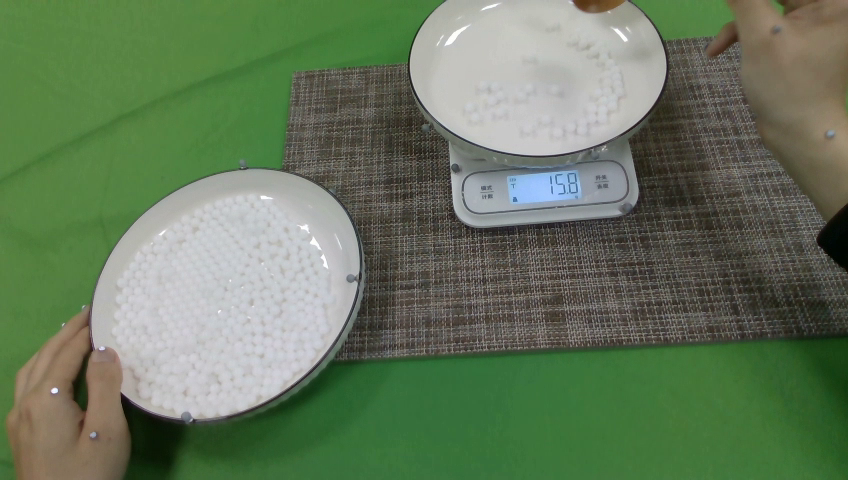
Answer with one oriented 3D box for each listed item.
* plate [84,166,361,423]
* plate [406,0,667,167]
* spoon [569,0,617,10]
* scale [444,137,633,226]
[{"bbox_3d":[-0.148,0.037,0.462,0.209,0.038,0.207,-3,61,6],"label":"plate"},{"bbox_3d":[0.090,-0.141,0.505,0.207,0.039,0.206,-2,60,4],"label":"plate"},{"bbox_3d":[0.169,-0.191,0.409,0.021,0.042,0.192,-45,26,-16],"label":"spoon"},{"bbox_3d":[0.091,-0.106,0.523,0.148,0.032,0.199,-4,60,3],"label":"scale"}]
